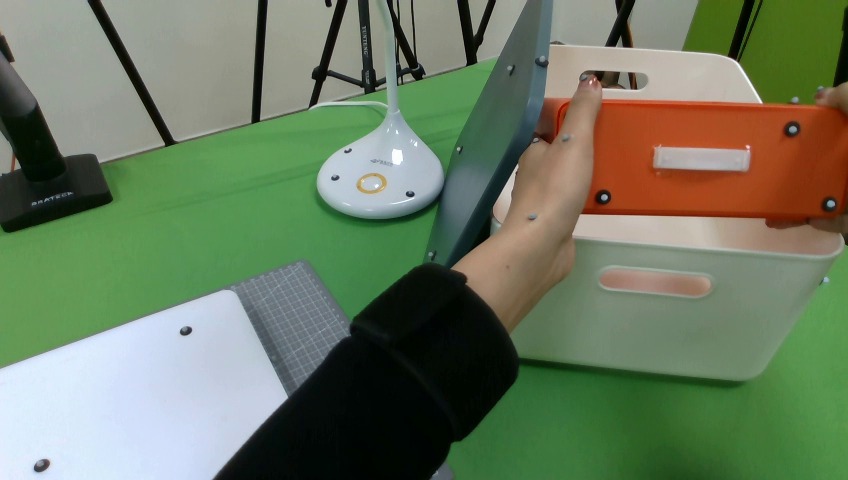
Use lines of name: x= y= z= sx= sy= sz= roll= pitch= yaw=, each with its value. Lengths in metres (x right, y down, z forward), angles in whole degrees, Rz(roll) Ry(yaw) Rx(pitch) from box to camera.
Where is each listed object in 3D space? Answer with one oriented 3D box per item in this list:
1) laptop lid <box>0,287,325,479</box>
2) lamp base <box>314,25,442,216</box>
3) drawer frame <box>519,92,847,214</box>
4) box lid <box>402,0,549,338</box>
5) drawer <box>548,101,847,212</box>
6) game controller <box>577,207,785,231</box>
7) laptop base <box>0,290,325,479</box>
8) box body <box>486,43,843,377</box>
laptop lid: x=-0.278 y=0.166 z=0.445 sx=0.357 sy=0.013 sz=0.239 roll=-20 pitch=46 yaw=-22
lamp base: x=-0.056 y=-0.149 z=0.718 sx=0.160 sy=0.182 sz=0.177 roll=5 pitch=38 yaw=6
drawer frame: x=0.190 y=-0.080 z=0.503 sx=0.202 sy=0.083 sz=0.212 roll=1 pitch=13 yaw=1
box lid: x=0.058 y=-0.100 z=0.607 sx=0.015 sy=0.264 sz=0.368 roll=22 pitch=40 yaw=-6
drawer: x=0.189 y=-0.077 z=0.502 sx=0.194 sy=0.073 sz=0.211 roll=1 pitch=13 yaw=2
game controller: x=0.191 y=-0.055 z=0.465 sx=0.155 sy=0.052 sz=0.096 roll=-2 pitch=43 yaw=-1
laptop base: x=-0.280 y=0.173 z=0.454 sx=0.355 sy=0.023 sz=0.233 roll=-21 pitch=48 yaw=-24
box body: x=0.197 y=-0.050 z=0.614 sx=0.254 sy=0.162 sz=0.361 roll=5 pitch=40 yaw=6
